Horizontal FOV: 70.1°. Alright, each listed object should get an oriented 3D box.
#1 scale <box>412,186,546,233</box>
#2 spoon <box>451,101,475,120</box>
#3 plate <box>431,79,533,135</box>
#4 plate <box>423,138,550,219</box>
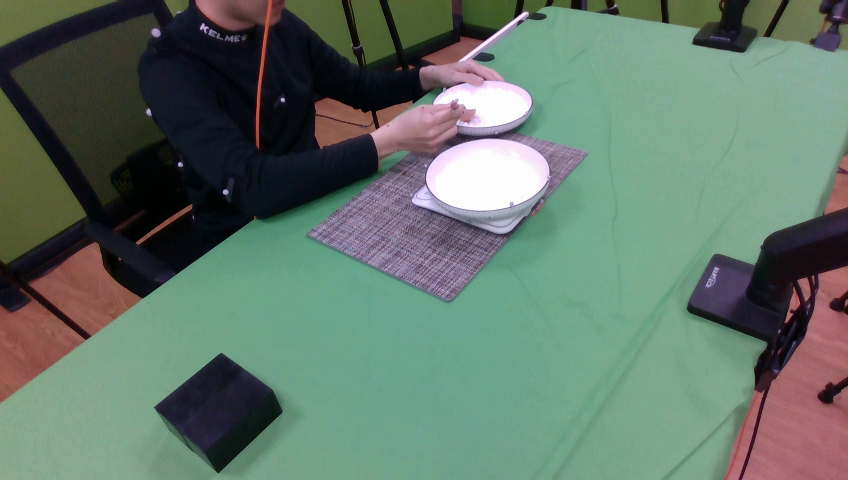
[{"bbox_3d":[0.093,-0.083,1.039,0.199,0.032,0.149,22,48,30],"label":"scale"},{"bbox_3d":[0.070,-0.251,1.160,0.041,0.021,0.194,-34,-4,14],"label":"spoon"},{"bbox_3d":[0.120,-0.271,1.249,0.209,0.038,0.208,-4,40,4],"label":"plate"},{"bbox_3d":[0.104,-0.099,1.005,0.207,0.039,0.206,-4,41,4],"label":"plate"}]
